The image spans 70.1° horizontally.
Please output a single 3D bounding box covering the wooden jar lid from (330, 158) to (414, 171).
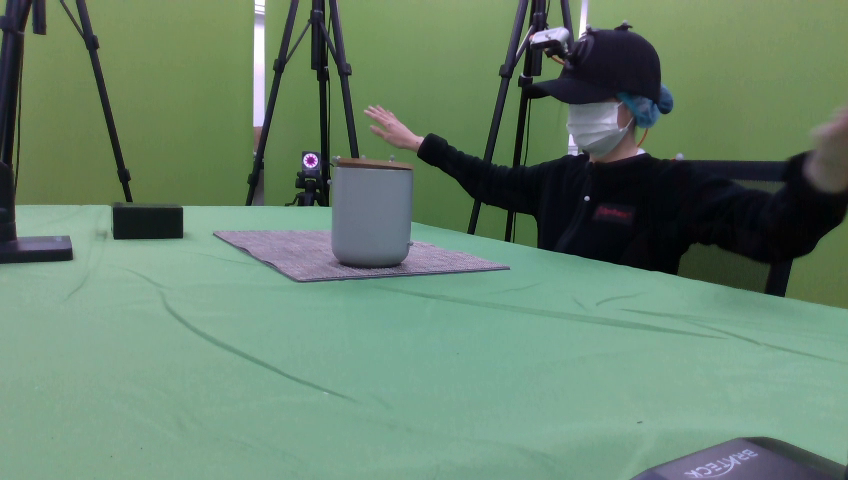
[{"bbox_3d":[-0.067,-0.092,0.783,0.108,0.020,0.108,5,6,0],"label":"wooden jar lid"}]

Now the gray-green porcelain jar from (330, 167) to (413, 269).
[{"bbox_3d":[-0.069,-0.030,0.791,0.106,0.126,0.106,3,7,0],"label":"gray-green porcelain jar"}]
